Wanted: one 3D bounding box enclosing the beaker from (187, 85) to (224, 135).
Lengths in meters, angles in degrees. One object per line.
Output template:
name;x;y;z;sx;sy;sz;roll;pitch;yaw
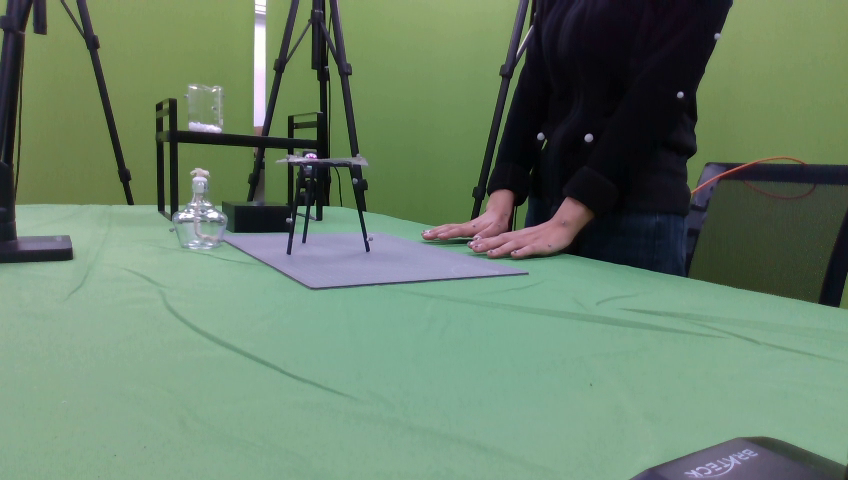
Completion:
beaker;-0.466;-0.276;1.296;0.074;0.100;0.083;-3;10;-35

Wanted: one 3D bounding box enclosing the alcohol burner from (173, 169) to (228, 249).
alcohol burner;-0.333;-0.047;0.903;0.078;0.119;0.078;2;6;0

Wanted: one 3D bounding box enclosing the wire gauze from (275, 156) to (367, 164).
wire gauze;-0.148;-0.119;0.895;0.121;0.011;0.125;1;7;-3

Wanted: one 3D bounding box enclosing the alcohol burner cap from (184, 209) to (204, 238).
alcohol burner cap;-0.389;-0.029;1.025;0.034;0.048;0.034;2;9;0

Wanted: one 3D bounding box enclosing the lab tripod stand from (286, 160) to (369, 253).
lab tripod stand;-0.157;-0.053;0.901;0.148;0.131;0.148;0;7;0
